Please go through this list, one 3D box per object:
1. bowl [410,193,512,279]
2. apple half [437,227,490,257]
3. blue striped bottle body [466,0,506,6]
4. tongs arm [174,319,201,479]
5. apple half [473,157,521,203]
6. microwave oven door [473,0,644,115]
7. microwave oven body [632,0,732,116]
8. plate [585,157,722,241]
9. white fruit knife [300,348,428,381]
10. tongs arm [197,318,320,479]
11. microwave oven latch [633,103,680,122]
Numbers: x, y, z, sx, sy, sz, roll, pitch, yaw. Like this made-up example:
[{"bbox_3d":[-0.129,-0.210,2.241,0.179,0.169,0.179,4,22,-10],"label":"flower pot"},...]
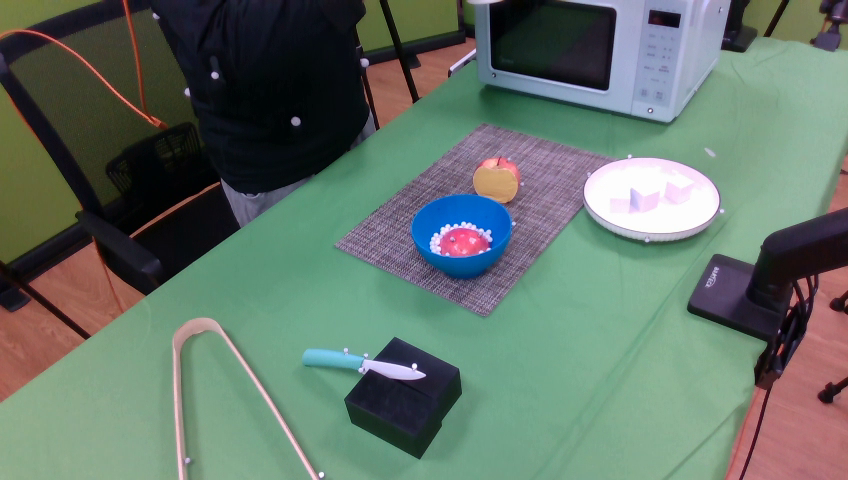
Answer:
[{"bbox_3d":[0.058,0.005,0.905,0.151,0.077,0.150,-4,40,3],"label":"bowl"},{"bbox_3d":[0.056,0.002,0.902,0.081,0.033,0.081,-3,42,3],"label":"apple half"},{"bbox_3d":[0.078,-0.372,0.781,0.063,0.121,0.063,-7,31,5],"label":"blue striped bottle body"},{"bbox_3d":[-0.272,0.234,0.723,0.051,0.026,0.381,-19,40,-15],"label":"tongs arm"},{"bbox_3d":[0.128,-0.107,1.030,0.080,0.075,0.053,4,38,19],"label":"apple half"},{"bbox_3d":[0.257,-0.396,1.199,0.353,0.245,0.039,21,48,29],"label":"microwave oven door"},{"bbox_3d":[0.377,-0.462,1.267,0.438,0.261,0.327,21,48,30],"label":"microwave oven body"},{"bbox_3d":[0.367,-0.063,0.979,0.207,0.039,0.206,-4,41,4],"label":"plate"},{"bbox_3d":[-0.080,0.154,0.748,0.206,0.027,0.016,1,20,35],"label":"white fruit knife"},{"bbox_3d":[-0.200,0.207,0.751,0.028,0.028,0.384,-31,45,-22],"label":"tongs arm"},{"bbox_3d":[0.443,-0.249,1.157,0.078,0.029,0.030,19,48,29],"label":"microwave oven latch"}]
